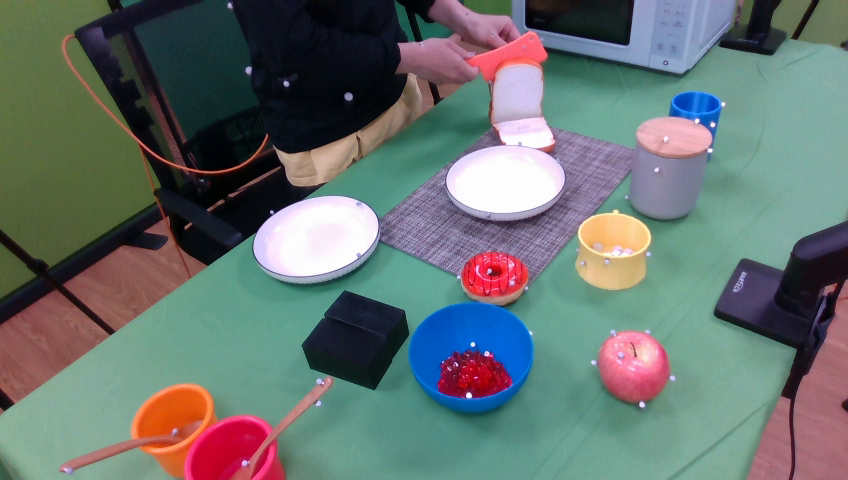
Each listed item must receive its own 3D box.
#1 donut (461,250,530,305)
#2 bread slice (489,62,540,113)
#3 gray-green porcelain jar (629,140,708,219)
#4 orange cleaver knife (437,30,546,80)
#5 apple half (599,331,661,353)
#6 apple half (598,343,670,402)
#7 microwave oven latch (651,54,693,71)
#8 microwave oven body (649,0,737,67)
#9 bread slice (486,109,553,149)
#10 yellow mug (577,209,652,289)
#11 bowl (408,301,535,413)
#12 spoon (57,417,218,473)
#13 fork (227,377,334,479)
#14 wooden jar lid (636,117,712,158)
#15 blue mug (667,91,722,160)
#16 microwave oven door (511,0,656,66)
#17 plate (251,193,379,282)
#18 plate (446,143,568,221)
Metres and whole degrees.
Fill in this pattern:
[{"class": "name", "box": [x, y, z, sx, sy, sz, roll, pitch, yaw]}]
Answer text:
[{"class": "donut", "box": [0.103, 0.053, 0.872, 0.099, 0.048, 0.098, -5, 40, 4]}, {"class": "bread slice", "box": [0.187, -0.321, 1.238, 0.107, 0.135, 0.018, -6, 50, 3]}, {"class": "gray-green porcelain jar", "box": [0.383, -0.105, 0.958, 0.106, 0.127, 0.105, -4, 41, 4]}, {"class": "orange cleaver knife", "box": [0.132, -0.350, 1.184, 0.211, 0.078, 0.012, -15, 47, 10]}, {"class": "apple half", "box": [0.249, 0.134, 0.738, 0.081, 0.081, 0.032, -2, 46, 7]}, {"class": "apple half", "box": [0.247, 0.161, 0.710, 0.081, 0.075, 0.053, 2, 47, 5]}, {"class": "microwave oven latch", "box": [0.532, -0.386, 1.301, 0.078, 0.029, 0.030, 26, 52, 34]}, {"class": "microwave oven body", "box": [0.475, -0.602, 1.411, 0.438, 0.261, 0.327, 23, 50, 32]}, {"class": "bread slice", "box": [0.186, -0.204, 1.167, 0.105, 0.019, 0.130, -19, 40, -1]}, {"class": "yellow mug", "box": [0.279, 0.004, 0.893, 0.099, 0.064, 0.130, 5, 41, 15]}, {"class": "bowl", "box": [0.060, 0.156, 0.739, 0.151, 0.077, 0.150, -4, 40, 4]}, {"class": "spoon", "box": [-0.304, 0.221, 0.661, 0.041, 0.195, 0.021, 20, 93, 27]}, {"class": "fork", "box": [-0.162, 0.216, 0.647, 0.207, 0.019, 0.028, -49, 41, 16]}, {"class": "wooden jar lid", "box": [0.377, -0.151, 0.917, 0.108, 0.021, 0.108, -2, 41, 3]}, {"class": "blue mug", "box": [0.474, -0.207, 1.079, 0.082, 0.106, 0.116, 4, 42, 13]}, {"class": "microwave oven door", "box": [0.351, -0.540, 1.349, 0.353, 0.245, 0.039, 24, 50, 31]}, {"class": "plate", "box": [-0.174, -0.001, 0.984, 0.209, 0.038, 0.208, -4, 40, 4]}, {"class": "plate", "box": [0.142, -0.097, 1.045, 0.207, 0.039, 0.206, -4, 40, 4]}]
